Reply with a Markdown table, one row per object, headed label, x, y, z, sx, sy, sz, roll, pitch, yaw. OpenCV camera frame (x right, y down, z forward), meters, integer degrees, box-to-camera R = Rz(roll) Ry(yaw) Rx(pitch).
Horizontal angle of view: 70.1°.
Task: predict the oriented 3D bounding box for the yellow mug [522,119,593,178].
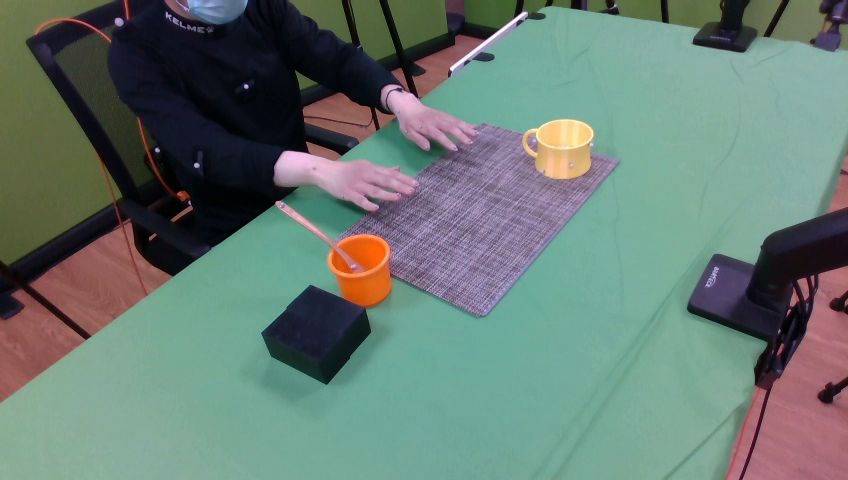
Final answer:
| label | x | y | z | sx | sy | sz | roll | pitch | yaw |
| --- | --- | --- | --- | --- | --- | --- | --- | --- | --- |
| yellow mug | 0.237 | -0.170 | 1.092 | 0.130 | 0.064 | 0.100 | 17 | 47 | 27 |

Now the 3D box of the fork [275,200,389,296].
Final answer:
| label | x | y | z | sx | sy | sz | roll | pitch | yaw |
| --- | --- | --- | --- | --- | --- | --- | --- | --- | --- |
| fork | -0.133 | 0.011 | 0.876 | 0.208 | 0.018 | 0.028 | 42 | 57 | -11 |
